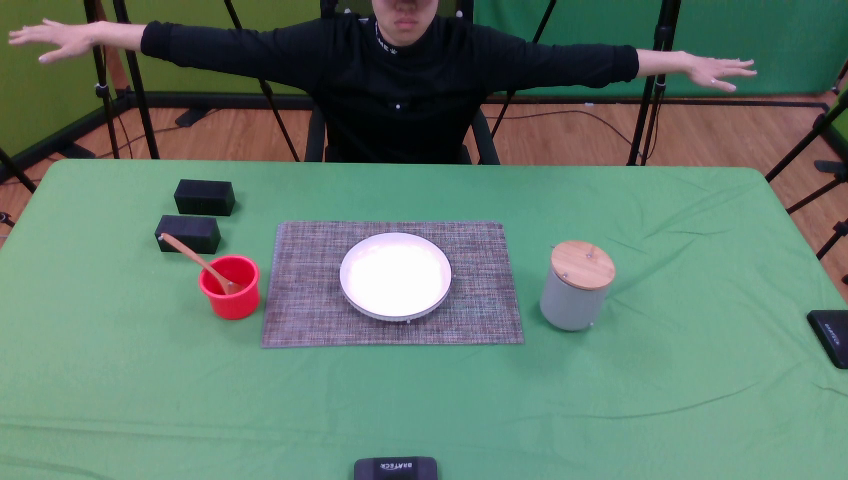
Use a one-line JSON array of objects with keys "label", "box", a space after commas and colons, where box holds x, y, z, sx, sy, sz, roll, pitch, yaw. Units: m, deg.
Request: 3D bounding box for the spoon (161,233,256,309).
[{"label": "spoon", "box": [-0.366, 0.051, 1.036, 0.194, 0.021, 0.041, 47, 45, -21]}]

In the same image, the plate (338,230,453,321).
[{"label": "plate", "box": [-0.052, 0.068, 1.111, 0.208, 0.039, 0.206, 2, 46, -2]}]

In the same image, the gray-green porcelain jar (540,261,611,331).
[{"label": "gray-green porcelain jar", "box": [0.262, 0.088, 1.058, 0.106, 0.127, 0.105, 2, 46, -2]}]

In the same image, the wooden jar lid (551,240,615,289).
[{"label": "wooden jar lid", "box": [0.263, 0.044, 1.011, 0.108, 0.021, 0.107, 4, 44, -4]}]
